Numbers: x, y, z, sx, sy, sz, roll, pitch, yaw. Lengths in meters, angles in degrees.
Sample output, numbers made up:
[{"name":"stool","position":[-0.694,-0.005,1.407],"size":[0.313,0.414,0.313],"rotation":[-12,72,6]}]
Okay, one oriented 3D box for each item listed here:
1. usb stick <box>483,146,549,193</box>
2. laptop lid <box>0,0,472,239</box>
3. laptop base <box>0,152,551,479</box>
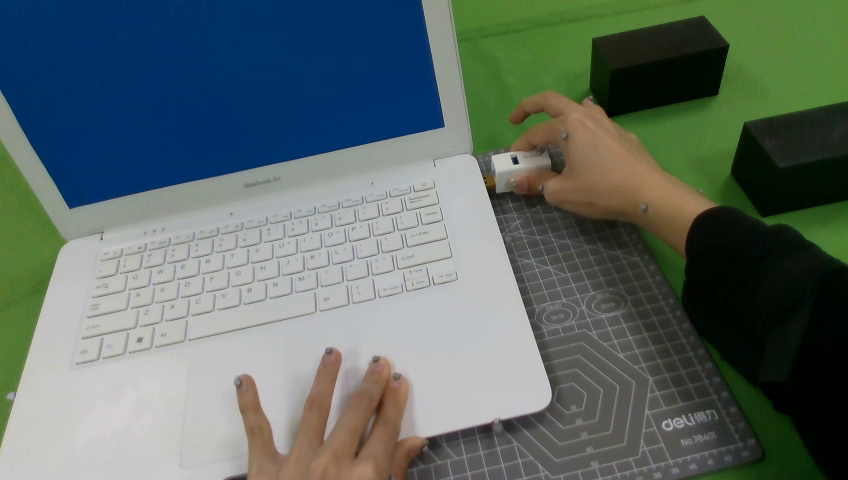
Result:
[{"name":"usb stick","position":[0.068,-0.055,0.479],"size":[0.059,0.027,0.021],"rotation":[-12,46,2]},{"name":"laptop lid","position":[-0.151,-0.128,0.447],"size":[0.357,0.244,0.013],"rotation":[-14,34,1]},{"name":"laptop base","position":[-0.111,0.054,0.436],"size":[0.354,0.023,0.233],"rotation":[-12,52,0]}]
